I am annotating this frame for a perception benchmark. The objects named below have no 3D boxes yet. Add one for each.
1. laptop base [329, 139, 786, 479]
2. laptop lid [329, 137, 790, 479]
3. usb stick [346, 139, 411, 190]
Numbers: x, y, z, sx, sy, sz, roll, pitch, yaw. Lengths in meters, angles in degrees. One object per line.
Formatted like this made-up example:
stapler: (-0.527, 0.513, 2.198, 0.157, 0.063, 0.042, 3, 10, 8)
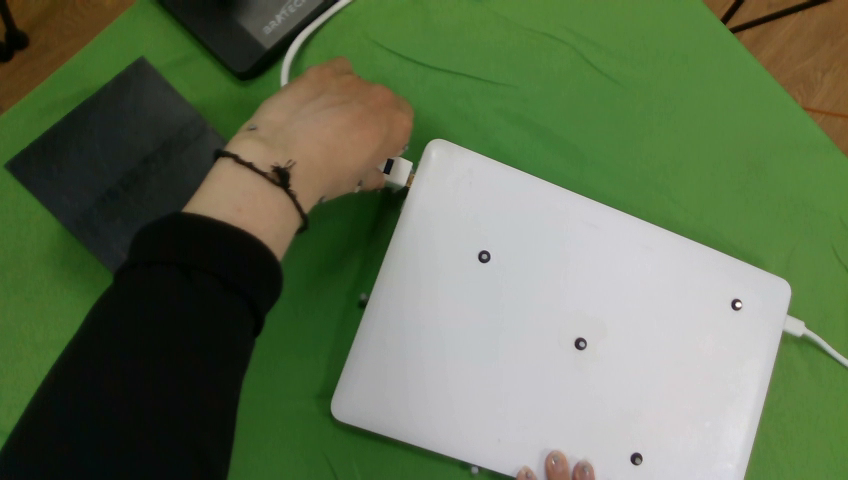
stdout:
laptop base: (0.125, 0.084, 0.507, 0.355, 0.023, 0.235, 20, 83, -9)
laptop lid: (0.126, 0.085, 0.495, 0.358, 0.013, 0.241, 22, 82, -9)
usb stick: (-0.030, -0.056, 0.475, 0.059, 0.027, 0.021, 24, 78, -12)
